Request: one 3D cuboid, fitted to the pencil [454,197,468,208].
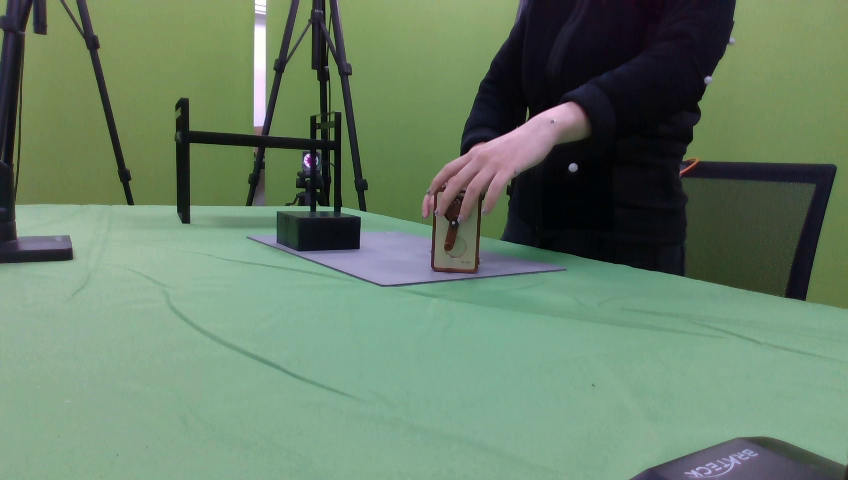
[{"bbox_3d":[0.055,-0.056,0.904,0.012,0.012,0.194,3,6,7],"label":"pencil"}]

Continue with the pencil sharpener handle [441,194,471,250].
[{"bbox_3d":[0.036,-0.022,0.731,0.036,0.067,0.030,7,8,4],"label":"pencil sharpener handle"}]

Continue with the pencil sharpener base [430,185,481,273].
[{"bbox_3d":[0.041,-0.016,0.783,0.061,0.107,0.077,3,8,4],"label":"pencil sharpener base"}]
